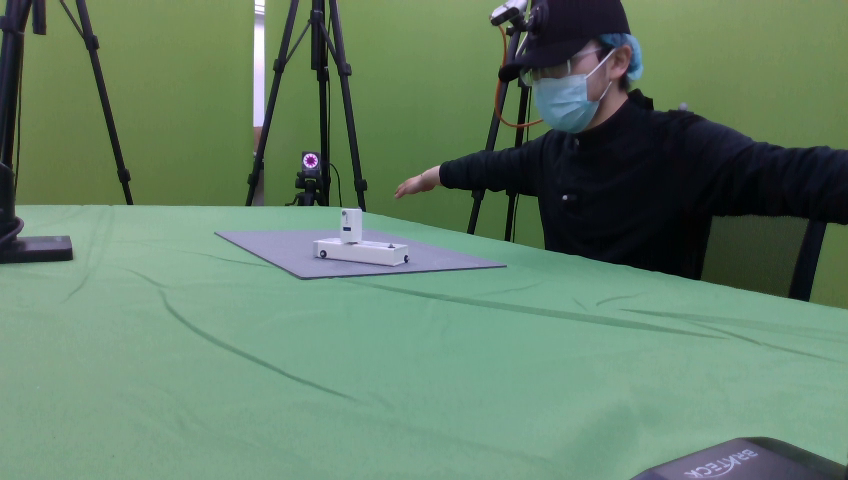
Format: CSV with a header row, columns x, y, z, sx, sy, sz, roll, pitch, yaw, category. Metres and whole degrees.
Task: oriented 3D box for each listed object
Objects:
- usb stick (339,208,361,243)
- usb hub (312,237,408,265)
x,y,z,sx,sy,sz,roll,pitch,yaw,category
-0.100,-0.013,0.815,0.021,0.059,0.027,5,10,20,usb stick
-0.088,0.014,0.829,0.125,0.025,0.050,5,8,22,usb hub
